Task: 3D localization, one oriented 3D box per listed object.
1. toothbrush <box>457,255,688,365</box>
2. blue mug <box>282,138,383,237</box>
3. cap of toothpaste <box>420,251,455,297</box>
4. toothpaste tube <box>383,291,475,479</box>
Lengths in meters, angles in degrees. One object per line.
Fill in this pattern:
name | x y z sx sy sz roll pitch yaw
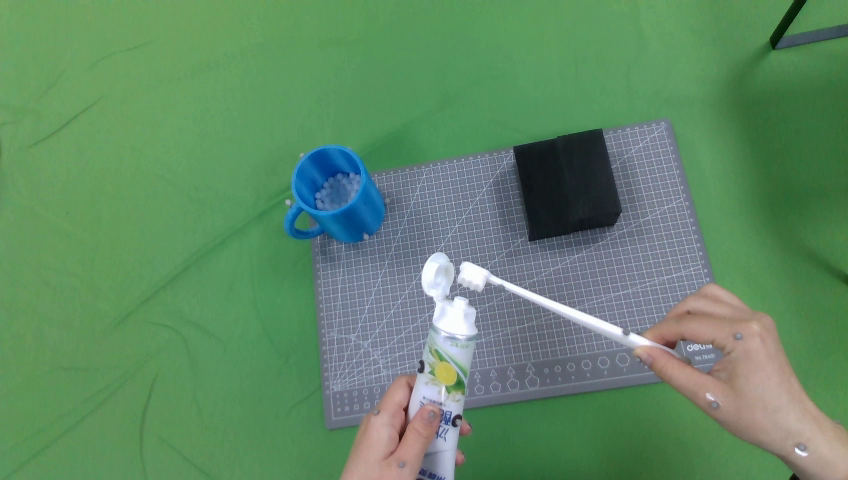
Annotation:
toothbrush | 0.108 0.054 0.445 0.182 0.014 0.016 23 48 2
blue mug | -0.110 -0.047 0.693 0.116 0.106 0.082 -37 73 -3
cap of toothpaste | 0.011 0.026 0.456 0.011 0.038 0.037 12 75 41
toothpaste tube | 0.007 0.117 0.462 0.055 0.034 0.165 15 101 17
